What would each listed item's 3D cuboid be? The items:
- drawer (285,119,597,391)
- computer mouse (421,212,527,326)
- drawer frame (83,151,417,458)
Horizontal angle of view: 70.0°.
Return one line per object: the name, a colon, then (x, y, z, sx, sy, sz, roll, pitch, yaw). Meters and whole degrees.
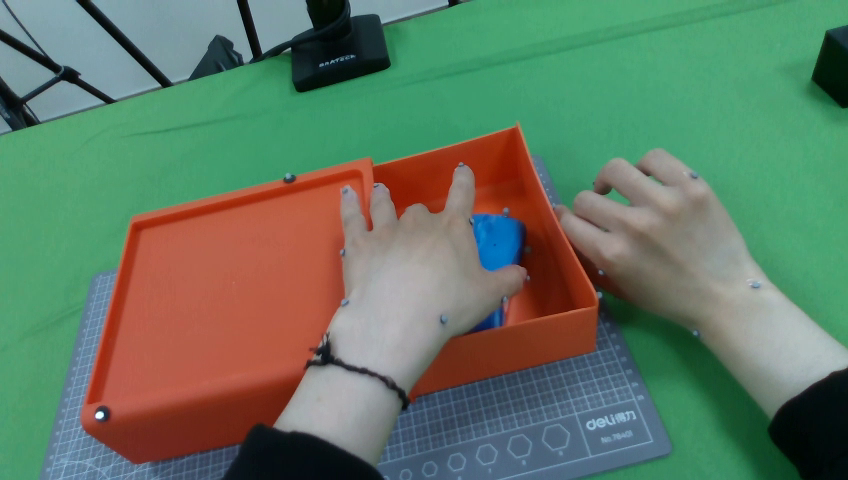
drawer: (0.001, 0.013, 0.470, 0.212, 0.074, 0.192, -14, 49, 2)
computer mouse: (0.040, 0.015, 0.473, 0.062, 0.041, 0.116, 3, 43, 22)
drawer frame: (-0.124, 0.044, 0.473, 0.213, 0.083, 0.199, -14, 49, 3)
